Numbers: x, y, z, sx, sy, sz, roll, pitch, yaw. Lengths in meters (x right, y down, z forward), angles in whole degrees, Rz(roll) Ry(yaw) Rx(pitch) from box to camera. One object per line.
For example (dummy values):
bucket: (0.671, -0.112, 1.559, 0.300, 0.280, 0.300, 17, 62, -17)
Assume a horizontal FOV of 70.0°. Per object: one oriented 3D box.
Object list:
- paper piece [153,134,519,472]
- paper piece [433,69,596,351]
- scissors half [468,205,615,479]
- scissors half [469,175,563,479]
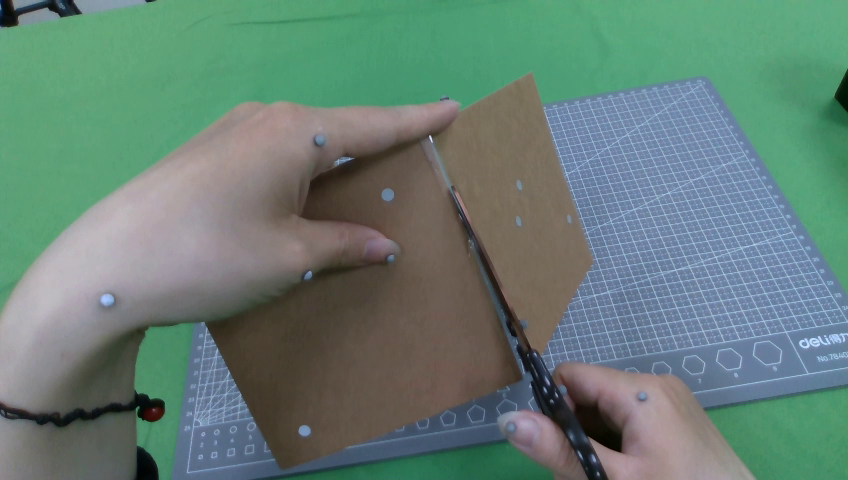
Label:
paper piece: (-0.038, 0.036, 0.296, 0.138, 0.136, 0.008, -22, 12, 2)
paper piece: (0.062, -0.020, 0.345, 0.004, 0.136, 0.135, -12, 18, 36)
scissors half: (0.051, 0.051, 0.282, 0.013, 0.040, 0.174, -20, 78, -16)
scissors half: (0.047, 0.052, 0.303, 0.013, 0.176, 0.040, -19, 16, -11)
